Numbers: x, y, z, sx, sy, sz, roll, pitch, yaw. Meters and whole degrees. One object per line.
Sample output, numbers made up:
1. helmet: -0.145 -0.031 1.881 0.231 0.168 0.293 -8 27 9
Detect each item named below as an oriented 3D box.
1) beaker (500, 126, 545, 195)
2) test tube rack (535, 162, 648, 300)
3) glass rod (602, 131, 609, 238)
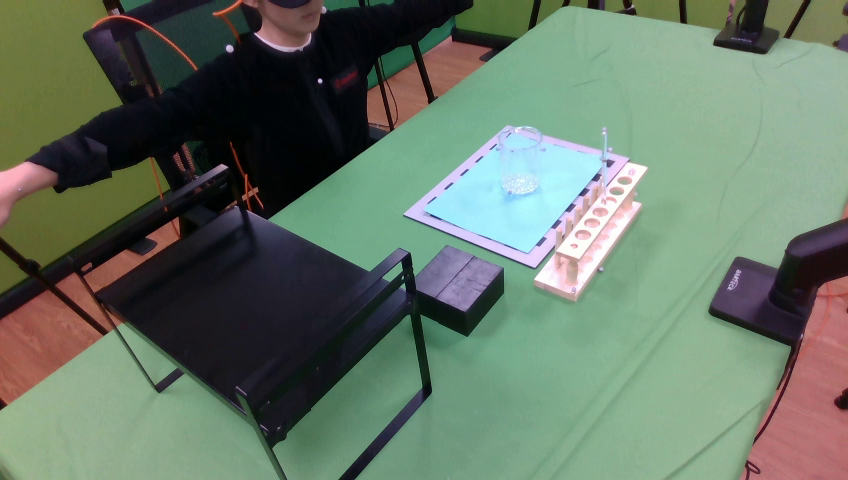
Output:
1. beaker: 0.169 -0.137 1.045 0.074 0.101 0.083 -8 40 0
2. test tube rack: 0.257 -0.024 0.916 0.066 0.085 0.243 22 49 30
3. glass rod: 0.262 -0.074 0.871 0.008 0.201 0.008 -9 44 9
